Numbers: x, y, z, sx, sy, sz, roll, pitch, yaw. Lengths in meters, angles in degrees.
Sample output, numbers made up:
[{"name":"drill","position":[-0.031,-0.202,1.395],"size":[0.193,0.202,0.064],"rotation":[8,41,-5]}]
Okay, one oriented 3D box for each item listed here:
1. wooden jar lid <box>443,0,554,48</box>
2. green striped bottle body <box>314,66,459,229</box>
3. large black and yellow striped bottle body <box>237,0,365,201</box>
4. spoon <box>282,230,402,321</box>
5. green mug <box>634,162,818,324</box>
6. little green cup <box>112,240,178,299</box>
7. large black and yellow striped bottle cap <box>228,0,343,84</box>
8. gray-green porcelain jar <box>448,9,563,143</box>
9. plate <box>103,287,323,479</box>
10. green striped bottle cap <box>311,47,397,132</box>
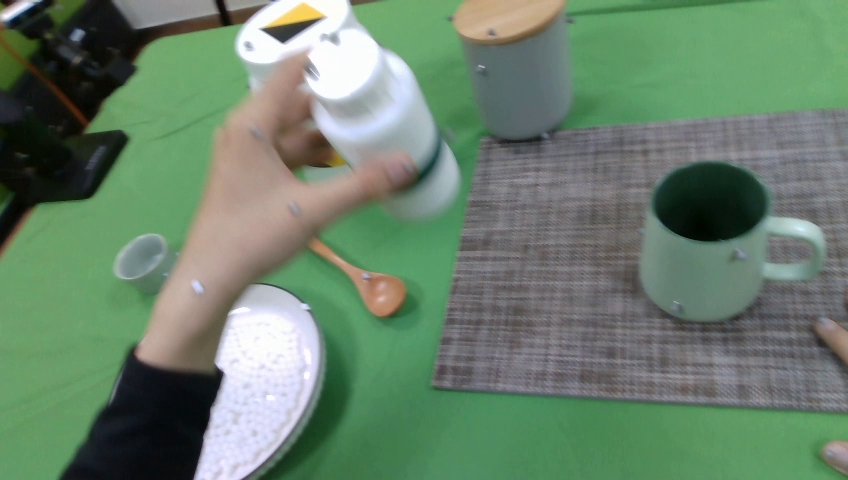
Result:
[{"name":"wooden jar lid","position":[0.072,-0.216,0.587],"size":[0.108,0.021,0.107],"rotation":[-12,48,14]},{"name":"green striped bottle body","position":[-0.023,-0.059,0.373],"size":[0.063,0.120,0.062],"rotation":[-8,63,17]},{"name":"large black and yellow striped bottle body","position":[-0.108,-0.145,0.644],"size":[0.130,0.186,0.129],"rotation":[-10,51,13]},{"name":"spoon","position":[-0.089,0.027,0.611],"size":[0.192,0.022,0.041],"rotation":[30,86,35]},{"name":"green mug","position":[0.224,0.006,0.456],"size":[0.124,0.106,0.092],"rotation":[6,56,24]},{"name":"little green cup","position":[-0.307,0.034,0.673],"size":[0.061,0.039,0.061],"rotation":[-9,51,12]},{"name":"large black and yellow striped bottle cap","position":[-0.133,-0.193,0.580],"size":[0.115,0.019,0.114],"rotation":[-9,50,12]},{"name":"gray-green porcelain jar","position":[0.089,-0.175,0.633],"size":[0.106,0.128,0.105],"rotation":[-10,47,11]},{"name":"plate","position":[-0.185,0.138,0.549],"size":[0.209,0.038,0.207],"rotation":[-9,51,12]},{"name":"green striped bottle cap","position":[-0.038,-0.082,0.327],"size":[0.044,0.020,0.044],"rotation":[-6,66,15]}]
